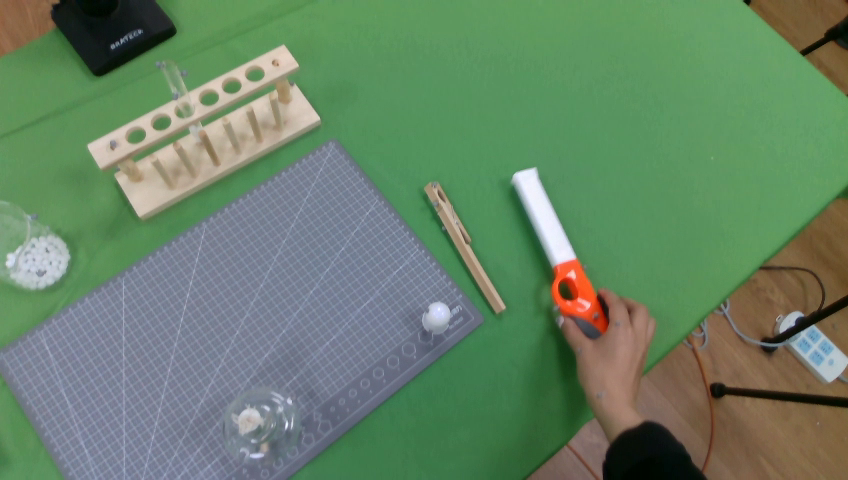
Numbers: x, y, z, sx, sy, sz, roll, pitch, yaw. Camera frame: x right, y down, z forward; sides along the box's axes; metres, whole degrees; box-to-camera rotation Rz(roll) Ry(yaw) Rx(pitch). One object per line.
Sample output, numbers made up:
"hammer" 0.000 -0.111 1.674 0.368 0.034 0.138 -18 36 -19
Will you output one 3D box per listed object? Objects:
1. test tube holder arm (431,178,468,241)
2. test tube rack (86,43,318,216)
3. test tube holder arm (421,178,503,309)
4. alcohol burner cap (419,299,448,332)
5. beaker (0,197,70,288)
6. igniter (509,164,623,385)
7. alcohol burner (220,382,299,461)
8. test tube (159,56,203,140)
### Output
"test tube holder arm" 0.027 -0.036 0.737 0.010 0.015 0.087 -13 70 -45
"test tube rack" -0.249 -0.129 0.709 0.242 0.085 0.066 -32 77 -14
"test tube holder arm" 0.044 0.003 0.722 0.013 0.015 0.177 -15 71 -45
"alcohol burner cap" 0.012 0.083 0.680 0.034 0.048 0.033 1 70 -3
"beaker" -0.432 0.009 0.642 0.074 0.101 0.083 -33 77 -14
"igniter" 0.165 0.034 0.709 0.057 0.025 0.274 -16 71 -14
"alcohol burner" -0.165 0.177 0.597 0.078 0.119 0.077 2 69 -4
"test tube" -0.262 -0.150 0.663 0.017 0.151 0.017 3 70 -7
